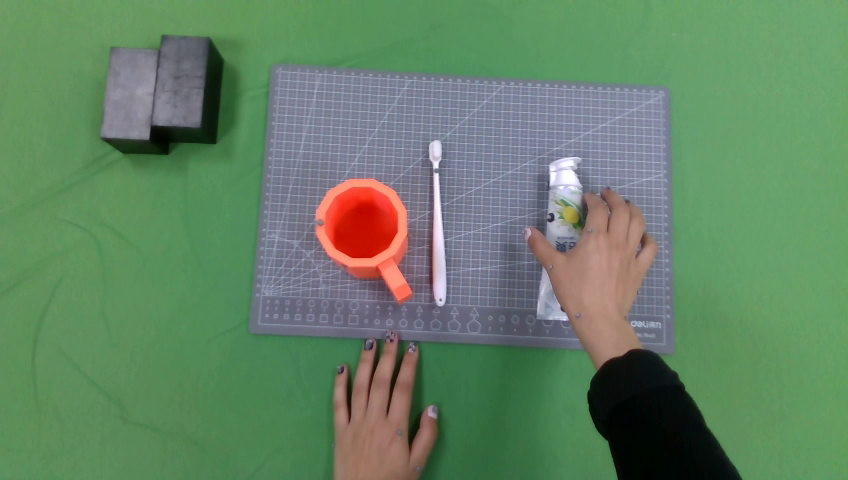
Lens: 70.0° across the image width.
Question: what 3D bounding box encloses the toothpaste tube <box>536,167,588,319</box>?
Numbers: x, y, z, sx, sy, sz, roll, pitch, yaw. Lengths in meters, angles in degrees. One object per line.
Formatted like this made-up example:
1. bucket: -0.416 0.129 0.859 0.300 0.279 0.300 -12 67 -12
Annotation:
1. toothpaste tube: 0.148 0.001 0.649 0.055 0.034 0.164 1 86 6

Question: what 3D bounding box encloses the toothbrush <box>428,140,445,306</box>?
1. toothbrush: 0.014 -0.020 0.652 0.014 0.016 0.181 1 82 -17

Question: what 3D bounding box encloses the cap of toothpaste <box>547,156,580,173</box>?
1. cap of toothpaste: 0.151 -0.080 0.655 0.037 0.037 0.011 -9 79 -4

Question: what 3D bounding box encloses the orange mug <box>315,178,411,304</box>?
1. orange mug: -0.051 0.006 0.604 0.083 0.101 0.125 -31 79 -6
